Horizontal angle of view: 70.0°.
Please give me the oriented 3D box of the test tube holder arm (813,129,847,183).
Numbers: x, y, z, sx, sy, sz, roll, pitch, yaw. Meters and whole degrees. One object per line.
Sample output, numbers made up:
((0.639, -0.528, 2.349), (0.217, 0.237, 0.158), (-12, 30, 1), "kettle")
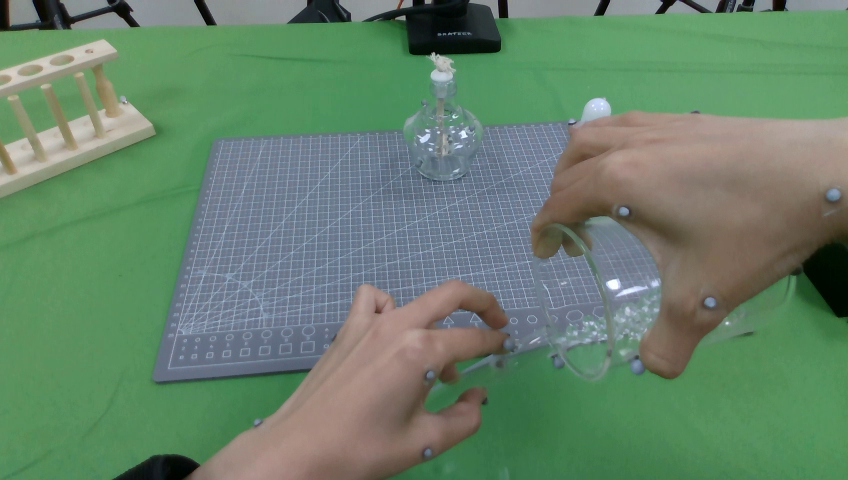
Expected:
((0.367, -0.067, 0.529), (0.010, 0.015, 0.087), (-6, 44, 4), "test tube holder arm")

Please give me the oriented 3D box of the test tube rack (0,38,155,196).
((-0.397, -0.104, 0.574), (0.242, 0.086, 0.066), (-32, 53, -29), "test tube rack")

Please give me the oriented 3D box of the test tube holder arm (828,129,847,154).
((0.374, -0.036, 0.497), (0.013, 0.015, 0.176), (-7, 44, 4), "test tube holder arm")

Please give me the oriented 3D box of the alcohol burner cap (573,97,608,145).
((0.176, -0.127, 0.633), (0.034, 0.048, 0.033), (1, 45, 0), "alcohol burner cap")

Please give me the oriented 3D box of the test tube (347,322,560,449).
((0.011, 0.086, 0.345), (0.150, 0.017, 0.017), (-34, 39, 25), "test tube")

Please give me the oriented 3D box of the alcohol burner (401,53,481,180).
((0.016, -0.118, 0.571), (0.078, 0.120, 0.077), (-1, 43, 1), "alcohol burner")

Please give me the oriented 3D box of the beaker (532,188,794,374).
((0.113, 0.018, 0.292), (0.100, 0.084, 0.073), (-12, 57, -11), "beaker")
